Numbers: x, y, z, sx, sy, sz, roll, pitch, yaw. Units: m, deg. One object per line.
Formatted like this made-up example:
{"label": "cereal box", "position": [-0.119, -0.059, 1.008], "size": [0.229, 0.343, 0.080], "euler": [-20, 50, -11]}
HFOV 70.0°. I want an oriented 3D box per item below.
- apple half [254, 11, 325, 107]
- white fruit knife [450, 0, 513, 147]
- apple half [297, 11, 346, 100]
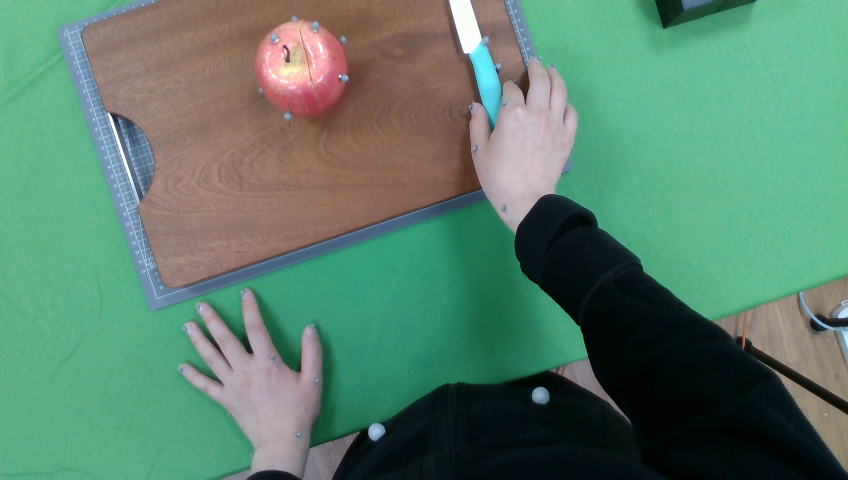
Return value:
{"label": "apple half", "position": [-0.124, -0.159, 0.549], "size": [0.053, 0.074, 0.081], "euler": [-14, 94, 4]}
{"label": "white fruit knife", "position": [0.049, -0.191, 0.579], "size": [0.027, 0.016, 0.207], "euler": [-17, 90, -12]}
{"label": "apple half", "position": [-0.086, -0.168, 0.548], "size": [0.033, 0.081, 0.081], "euler": [-13, 90, 2]}
